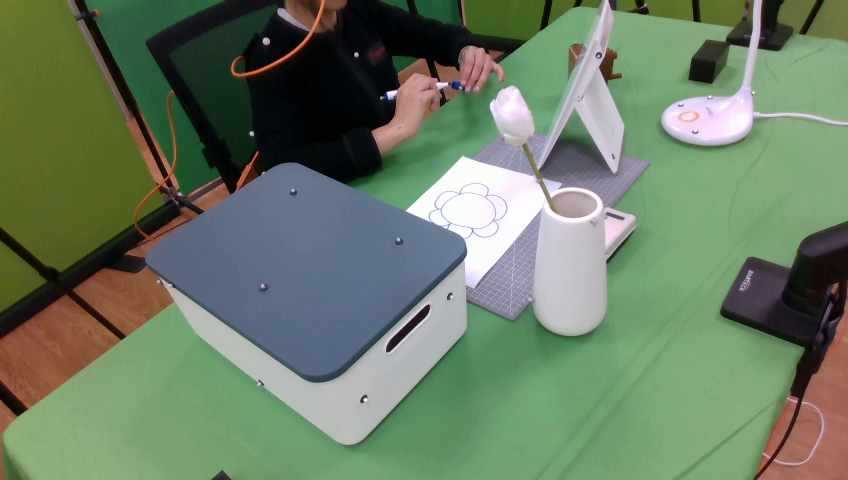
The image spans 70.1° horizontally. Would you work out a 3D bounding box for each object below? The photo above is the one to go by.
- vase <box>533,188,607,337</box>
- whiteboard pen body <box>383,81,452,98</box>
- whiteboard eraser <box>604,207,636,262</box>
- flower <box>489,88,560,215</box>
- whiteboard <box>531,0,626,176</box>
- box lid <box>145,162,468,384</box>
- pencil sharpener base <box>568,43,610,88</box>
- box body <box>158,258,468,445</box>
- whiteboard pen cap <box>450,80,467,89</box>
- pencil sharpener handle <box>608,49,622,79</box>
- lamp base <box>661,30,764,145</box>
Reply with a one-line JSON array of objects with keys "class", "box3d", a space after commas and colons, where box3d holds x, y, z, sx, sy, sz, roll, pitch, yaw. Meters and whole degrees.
[{"class": "vase", "box3d": [0.187, 0.033, 0.771, 0.098, 0.201, 0.097, -6, 41, 6]}, {"class": "whiteboard pen body", "box3d": [-0.013, -0.301, 1.203, 0.141, 0.017, 0.017, -13, 40, -9]}, {"class": "whiteboard eraser", "box3d": [0.272, -0.003, 0.919, 0.055, 0.042, 0.113, 27, 51, 32]}, {"class": "flower", "box3d": [0.158, -0.027, 0.720, 0.038, 0.364, 0.044, -14, 44, 23]}, {"class": "whiteboard", "box3d": [0.320, -0.259, 1.050, 0.144, 0.306, 0.217, 22, 45, 6]}, {"class": "box lid", "box3d": [-0.157, 0.014, 0.769, 0.368, 0.015, 0.264, 25, 51, 33]}, {"class": "pencil sharpener base", "box3d": [0.345, -0.352, 1.263, 0.077, 0.107, 0.061, -9, 40, 1]}, {"class": "box body", "box3d": [-0.147, 0.072, 0.816, 0.361, 0.161, 0.255, 24, 50, 33]}, {"class": "whiteboard pen cap", "box3d": [0.070, -0.316, 1.227, 0.033, 0.018, 0.018, -1, 34, -29]}, {"class": "pencil sharpener handle", "box3d": [0.394, -0.368, 1.253, 0.030, 0.068, 0.036, -8, 32, 1]}, {"class": "lamp base", "box3d": [0.535, -0.287, 1.095, 0.179, 0.181, 0.159, -10, 40, -4]}]
